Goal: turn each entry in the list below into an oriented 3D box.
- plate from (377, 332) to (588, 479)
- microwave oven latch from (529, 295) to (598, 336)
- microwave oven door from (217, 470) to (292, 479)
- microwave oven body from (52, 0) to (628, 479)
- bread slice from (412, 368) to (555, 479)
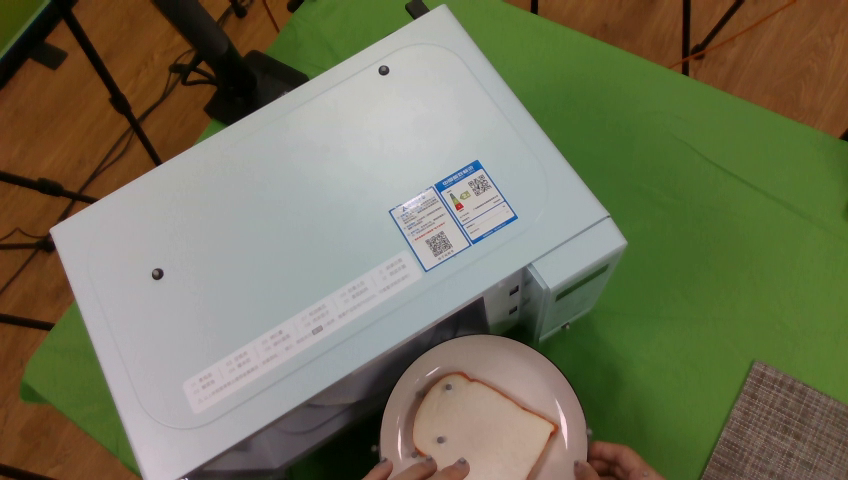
[{"bbox_3d":[0.058,0.199,0.613,0.207,0.039,0.206,-2,73,8],"label":"plate"},{"bbox_3d":[0.161,0.079,0.700,0.079,0.030,0.030,-29,70,-3],"label":"microwave oven latch"},{"bbox_3d":[-0.030,0.289,0.542,0.354,0.245,0.039,16,73,12],"label":"microwave oven door"},{"bbox_3d":[-0.078,0.021,0.648,0.442,0.262,0.323,-31,70,-3],"label":"microwave oven body"},{"bbox_3d":[0.052,0.195,0.617,0.131,0.019,0.104,29,78,14],"label":"bread slice"}]
